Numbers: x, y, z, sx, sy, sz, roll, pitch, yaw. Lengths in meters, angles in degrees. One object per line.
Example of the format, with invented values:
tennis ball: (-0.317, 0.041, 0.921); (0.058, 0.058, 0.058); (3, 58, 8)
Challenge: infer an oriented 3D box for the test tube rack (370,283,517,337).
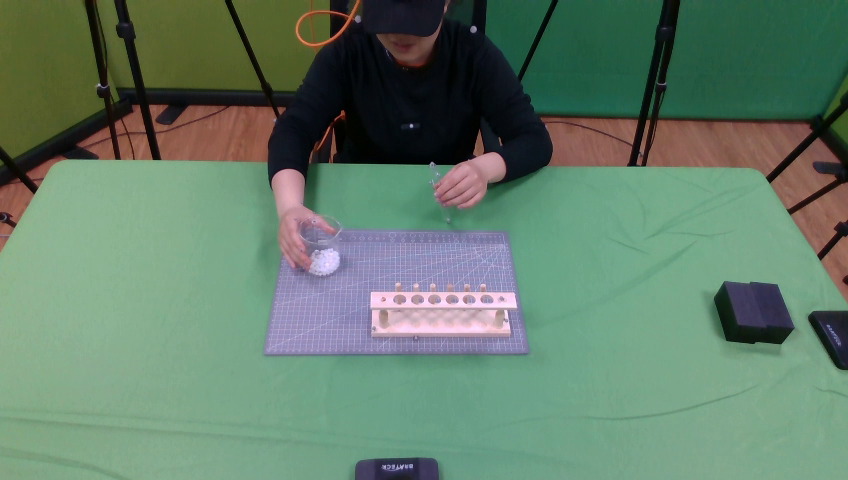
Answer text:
test tube rack: (0.030, 0.116, 1.041); (0.242, 0.085, 0.066); (1, 46, -4)

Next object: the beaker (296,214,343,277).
beaker: (-0.189, 0.013, 1.114); (0.084, 0.101, 0.073); (-9, 48, -14)

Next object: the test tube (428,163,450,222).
test tube: (0.031, -0.091, 1.195); (0.017, 0.151, 0.017); (-9, 46, 9)
